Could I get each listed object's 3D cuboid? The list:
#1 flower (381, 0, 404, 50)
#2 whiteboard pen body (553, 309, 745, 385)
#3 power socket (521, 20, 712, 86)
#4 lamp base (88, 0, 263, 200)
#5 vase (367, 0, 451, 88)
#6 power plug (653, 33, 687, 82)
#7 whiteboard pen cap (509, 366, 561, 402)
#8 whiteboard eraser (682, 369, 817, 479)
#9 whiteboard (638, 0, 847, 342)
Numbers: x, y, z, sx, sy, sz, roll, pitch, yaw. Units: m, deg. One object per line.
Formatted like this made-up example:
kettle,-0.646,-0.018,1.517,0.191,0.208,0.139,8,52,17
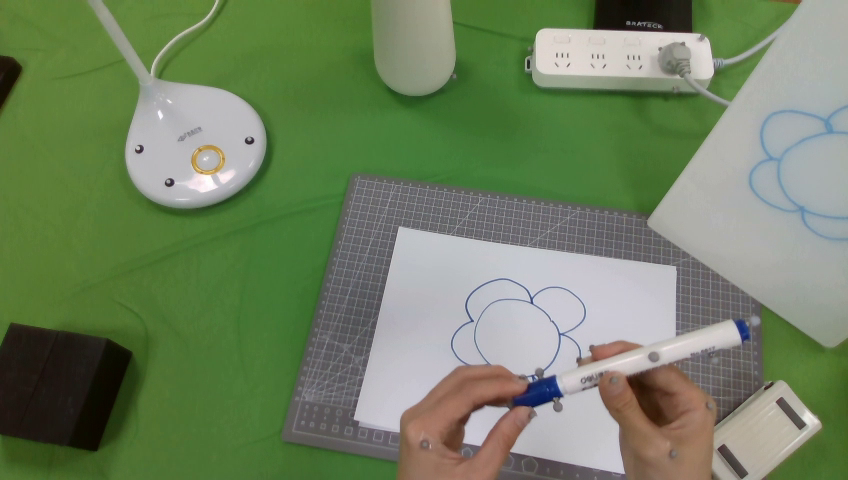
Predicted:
flower,-0.004,-0.281,0.583,0.044,0.362,0.038,-32,86,-21
whiteboard pen body,0.129,0.072,0.383,0.140,0.017,0.017,-22,65,16
power socket,0.232,-0.226,0.732,0.227,0.033,0.071,3,68,2
lamp base,-0.279,-0.156,0.635,0.178,0.181,0.160,40,73,20
vase,-0.019,-0.259,0.662,0.098,0.201,0.097,-1,66,3
power plug,0.280,-0.204,0.697,0.035,0.053,0.072,13,74,7
whiteboard pen cap,0.074,0.095,0.400,0.033,0.018,0.018,-22,65,17
whiteboard eraser,0.294,0.171,0.552,0.112,0.042,0.055,-33,69,-12
whiteboard,0.388,-0.090,0.555,0.216,0.307,0.144,38,52,17
